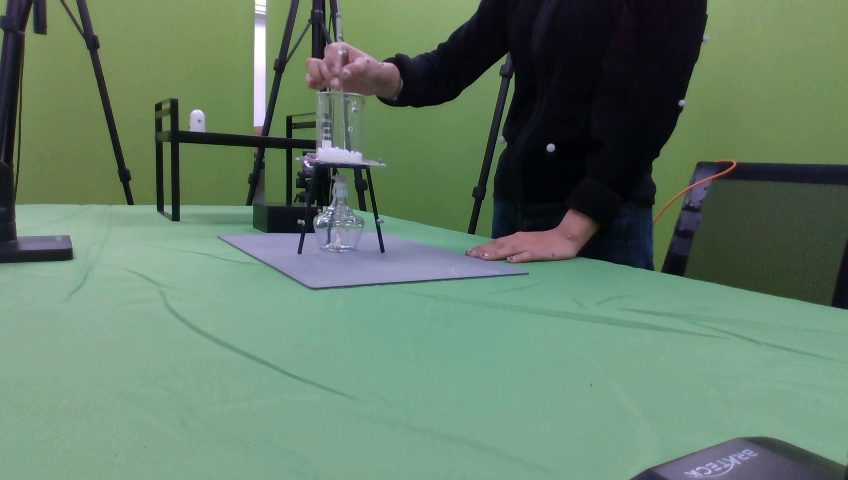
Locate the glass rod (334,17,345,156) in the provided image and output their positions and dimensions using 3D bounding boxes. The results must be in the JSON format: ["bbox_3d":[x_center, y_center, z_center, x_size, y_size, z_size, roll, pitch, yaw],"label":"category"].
[{"bbox_3d":[-0.122,-0.221,0.874,0.008,0.199,0.008,-3,1,0],"label":"glass rod"}]

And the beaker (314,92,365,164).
[{"bbox_3d":[-0.123,-0.163,0.893,0.073,0.100,0.084,8,9,30],"label":"beaker"}]

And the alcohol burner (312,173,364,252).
[{"bbox_3d":[-0.129,-0.042,0.910,0.078,0.119,0.078,4,8,0],"label":"alcohol burner"}]

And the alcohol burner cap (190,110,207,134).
[{"bbox_3d":[-0.463,-0.242,1.240,0.034,0.048,0.034,2,7,0],"label":"alcohol burner cap"}]

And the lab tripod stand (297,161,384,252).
[{"bbox_3d":[-0.130,-0.051,0.903,0.148,0.131,0.148,3,9,0],"label":"lab tripod stand"}]

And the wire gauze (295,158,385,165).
[{"bbox_3d":[-0.128,-0.117,0.900,0.125,0.011,0.121,-2,7,-14],"label":"wire gauze"}]
